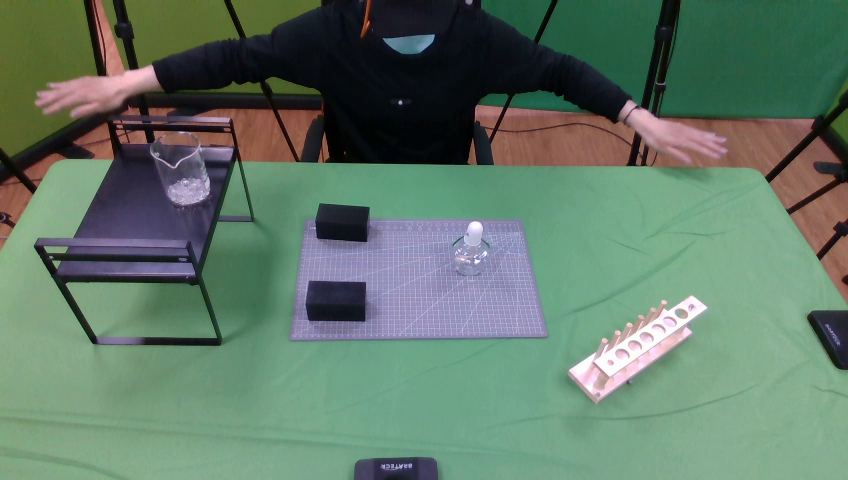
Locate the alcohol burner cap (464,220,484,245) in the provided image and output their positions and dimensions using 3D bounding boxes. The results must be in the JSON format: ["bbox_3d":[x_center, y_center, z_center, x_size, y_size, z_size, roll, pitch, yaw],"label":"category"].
[{"bbox_3d":[0.092,-0.016,1.098,0.034,0.048,0.033,5,50,-6],"label":"alcohol burner cap"}]

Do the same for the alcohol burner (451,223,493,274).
[{"bbox_3d":[0.091,0.008,1.124,0.078,0.120,0.077,2,48,-2],"label":"alcohol burner"}]

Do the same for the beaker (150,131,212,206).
[{"bbox_3d":[-0.385,-0.110,0.969,0.074,0.101,0.083,-6,48,-9],"label":"beaker"}]

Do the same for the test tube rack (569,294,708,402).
[{"bbox_3d":[0.360,0.167,1.015,0.242,0.085,0.066,-25,52,-25],"label":"test tube rack"}]
